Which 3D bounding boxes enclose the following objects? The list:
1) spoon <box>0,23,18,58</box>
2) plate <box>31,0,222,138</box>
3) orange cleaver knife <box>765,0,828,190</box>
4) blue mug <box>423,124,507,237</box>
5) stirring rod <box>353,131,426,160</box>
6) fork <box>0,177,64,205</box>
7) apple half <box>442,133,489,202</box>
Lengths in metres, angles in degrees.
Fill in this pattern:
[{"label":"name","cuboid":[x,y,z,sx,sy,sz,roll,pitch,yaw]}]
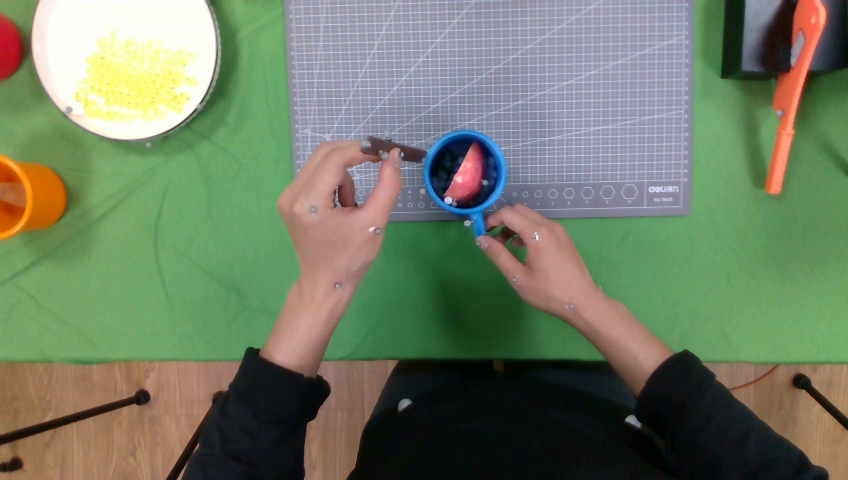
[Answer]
[{"label":"spoon","cuboid":[-0.536,-0.224,0.623,0.195,0.021,0.041,1,96,-42]},{"label":"plate","cuboid":[-0.323,-0.218,0.670,0.209,0.038,0.209,0,96,2]},{"label":"orange cleaver knife","cuboid":[0.382,-0.156,0.634,0.012,0.076,0.213,2,122,11]},{"label":"blue mug","cuboid":[0.046,-0.059,0.641,0.082,0.105,0.116,-15,95,4]},{"label":"stirring rod","cuboid":[-0.023,-0.075,0.494,0.006,0.176,0.014,36,102,9]},{"label":"fork","cuboid":[-0.497,-0.066,0.636,0.209,0.018,0.028,12,96,-43]},{"label":"apple half","cuboid":[0.050,-0.071,0.630,0.032,0.081,0.081,29,96,9]}]
